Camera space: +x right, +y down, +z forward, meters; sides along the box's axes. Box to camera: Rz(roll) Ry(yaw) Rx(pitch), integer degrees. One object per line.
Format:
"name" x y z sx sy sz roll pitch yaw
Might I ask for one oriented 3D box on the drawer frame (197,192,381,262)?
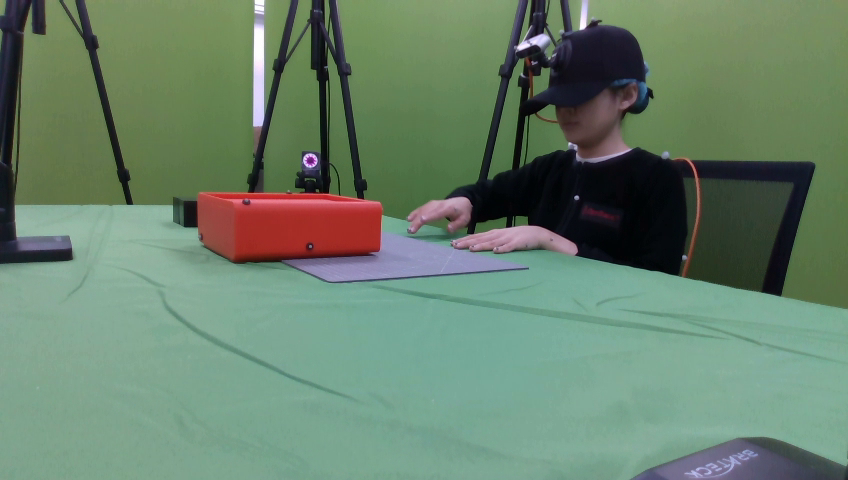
"drawer frame" -0.202 -0.026 0.892 0.215 0.082 0.200 -3 10 -34

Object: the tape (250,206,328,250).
"tape" -0.202 -0.019 0.902 0.117 0.052 0.117 3 8 0

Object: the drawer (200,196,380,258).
"drawer" -0.200 -0.024 0.894 0.213 0.073 0.193 -3 10 -33
